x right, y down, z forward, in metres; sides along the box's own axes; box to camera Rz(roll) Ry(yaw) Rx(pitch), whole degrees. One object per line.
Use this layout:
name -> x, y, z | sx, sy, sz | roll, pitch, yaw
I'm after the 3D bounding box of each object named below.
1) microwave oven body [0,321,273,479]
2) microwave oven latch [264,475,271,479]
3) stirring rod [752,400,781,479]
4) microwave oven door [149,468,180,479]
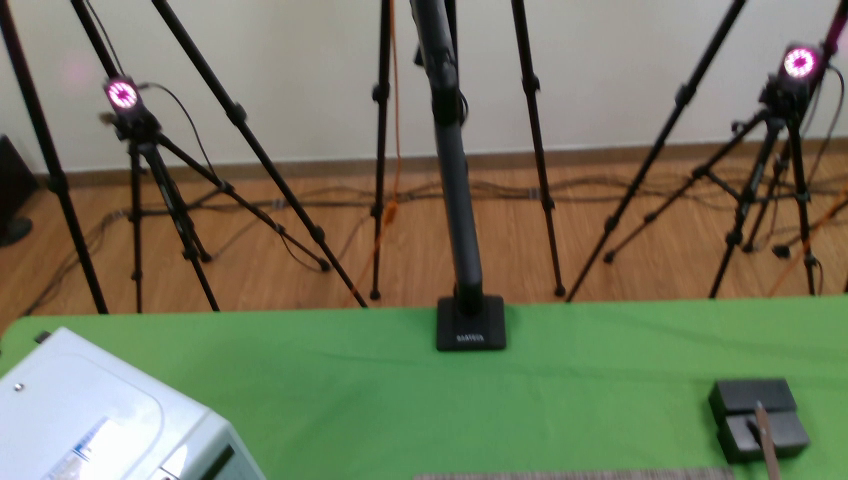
microwave oven body -> -0.453, 0.372, 0.711 | 0.324, 0.263, 0.440 | 20, 52, 22
microwave oven latch -> -0.230, 0.367, 0.827 | 0.030, 0.030, 0.079 | 21, 53, 23
stirring rod -> 0.465, 0.304, 0.809 | 0.014, 0.006, 0.175 | -8, 70, 13
microwave oven door -> -0.347, 0.440, 0.628 | 0.039, 0.246, 0.354 | 19, 51, 23
